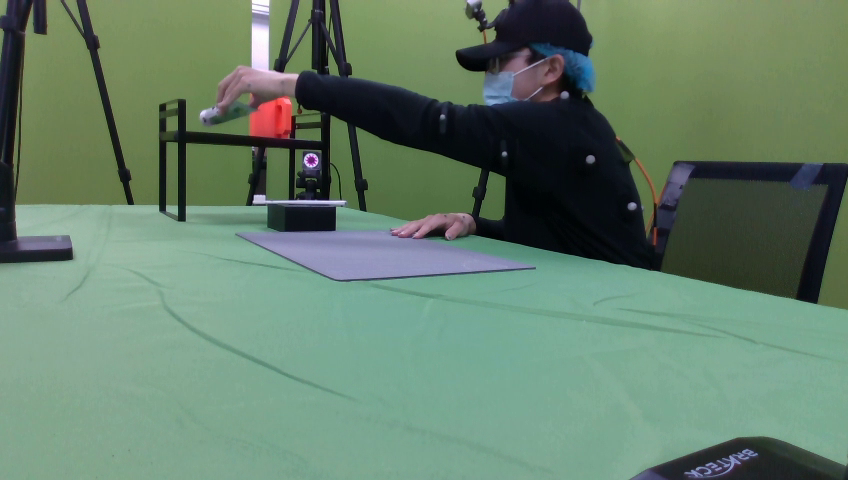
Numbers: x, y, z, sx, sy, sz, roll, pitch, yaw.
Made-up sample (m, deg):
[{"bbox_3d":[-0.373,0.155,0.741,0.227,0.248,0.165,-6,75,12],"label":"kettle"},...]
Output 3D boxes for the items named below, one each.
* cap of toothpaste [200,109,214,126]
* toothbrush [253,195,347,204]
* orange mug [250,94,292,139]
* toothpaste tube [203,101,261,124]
[{"bbox_3d":[-0.456,-0.260,1.282,0.011,0.037,0.037,-1,3,42],"label":"cap of toothpaste"},{"bbox_3d":[-0.234,-0.076,1.154,0.183,0.016,0.014,-1,5,-27],"label":"toothbrush"},{"bbox_3d":[-0.339,-0.279,1.364,0.125,0.100,0.084,4,6,45],"label":"orange mug"},{"bbox_3d":[-0.400,-0.261,1.228,0.164,0.034,0.055,-1,-6,42],"label":"toothpaste tube"}]
